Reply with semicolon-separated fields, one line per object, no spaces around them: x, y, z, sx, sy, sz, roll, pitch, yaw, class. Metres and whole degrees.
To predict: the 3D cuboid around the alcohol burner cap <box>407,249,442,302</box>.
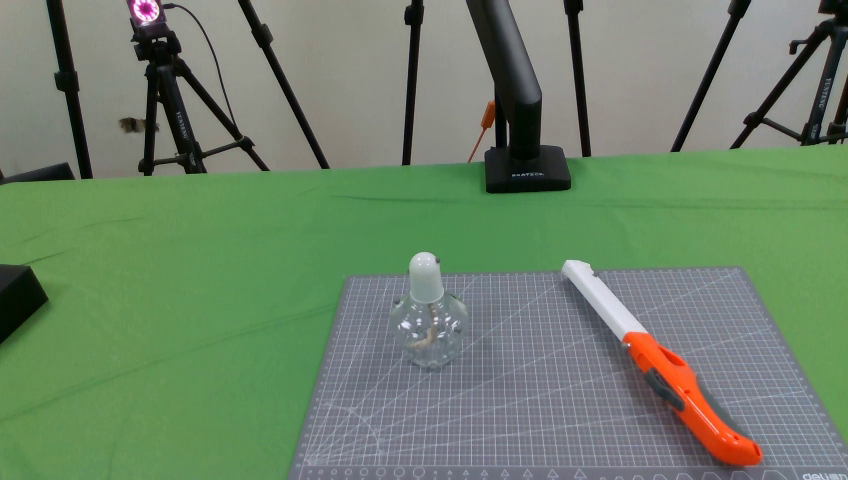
-0.001;0.030;0.556;0.034;0.048;0.033;-2;38;2;alcohol burner cap

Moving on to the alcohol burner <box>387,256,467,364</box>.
0.002;0.060;0.576;0.078;0.120;0.077;-2;36;2;alcohol burner

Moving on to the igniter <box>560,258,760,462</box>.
0.204;0.096;0.567;0.057;0.025;0.273;7;27;-22;igniter
